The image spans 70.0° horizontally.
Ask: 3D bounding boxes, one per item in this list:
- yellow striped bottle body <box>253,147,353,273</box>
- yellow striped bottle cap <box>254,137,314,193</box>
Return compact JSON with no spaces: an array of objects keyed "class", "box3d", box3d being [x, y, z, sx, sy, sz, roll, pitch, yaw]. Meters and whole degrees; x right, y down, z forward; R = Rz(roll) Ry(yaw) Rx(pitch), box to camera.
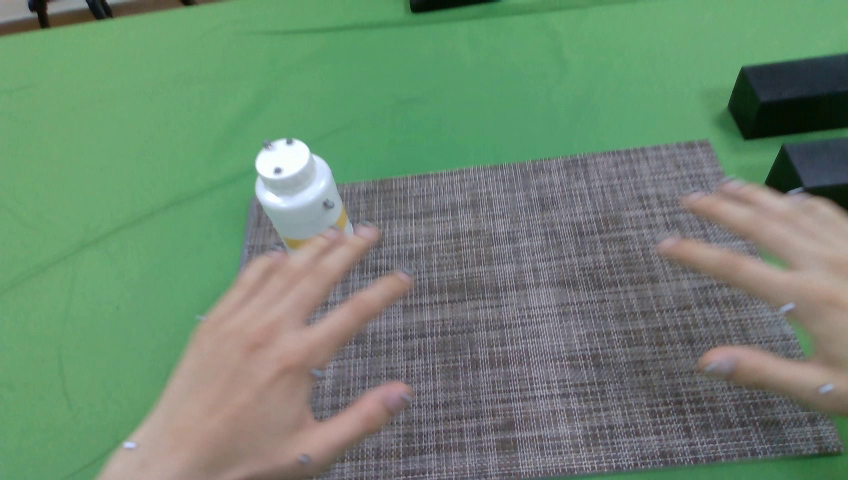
[{"class":"yellow striped bottle body","box3d":[-0.104,-0.029,0.517,0.063,0.121,0.062,-4,54,6]},{"class":"yellow striped bottle cap","box3d":[-0.110,-0.060,0.476,0.044,0.019,0.044,-5,53,7]}]
